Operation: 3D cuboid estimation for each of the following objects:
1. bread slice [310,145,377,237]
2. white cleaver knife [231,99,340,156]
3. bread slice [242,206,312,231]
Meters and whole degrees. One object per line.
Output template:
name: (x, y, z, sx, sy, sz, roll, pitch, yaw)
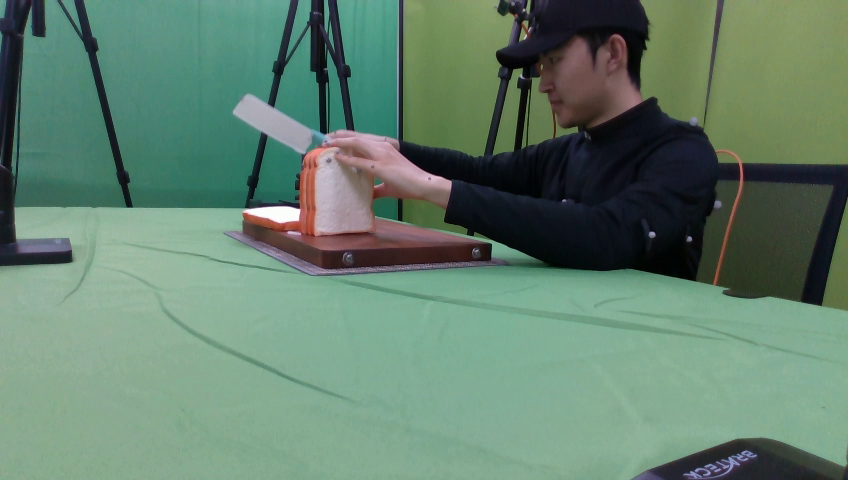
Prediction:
bread slice: (-0.124, -0.074, 0.906, 0.107, 0.134, 0.018, -10, 13, -34)
white cleaver knife: (-0.262, -0.211, 1.274, 0.288, 0.065, 0.021, 26, 37, -27)
bread slice: (-0.233, -0.037, 1.000, 0.131, 0.019, 0.105, 13, 15, 40)
